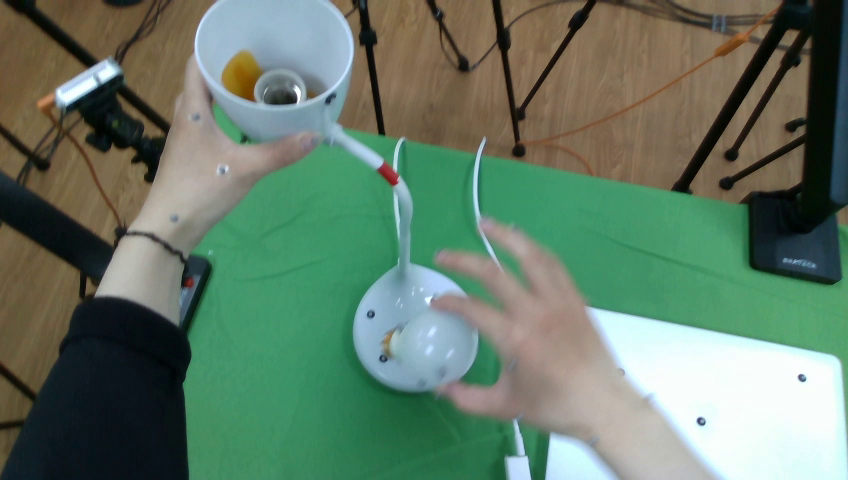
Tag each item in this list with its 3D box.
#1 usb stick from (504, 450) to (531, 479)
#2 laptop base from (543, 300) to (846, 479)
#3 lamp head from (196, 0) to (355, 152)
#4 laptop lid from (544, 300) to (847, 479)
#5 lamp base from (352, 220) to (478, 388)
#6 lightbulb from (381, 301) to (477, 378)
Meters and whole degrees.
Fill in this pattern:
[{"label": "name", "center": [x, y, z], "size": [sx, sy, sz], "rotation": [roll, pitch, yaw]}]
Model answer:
[{"label": "usb stick", "center": [0.109, 0.276, 0.703], "size": [0.027, 0.021, 0.059], "rotation": [-2, 76, -4]}, {"label": "laptop base", "center": [0.331, 0.216, 0.741], "size": [0.354, 0.023, 0.234], "rotation": [11, 69, 3]}, {"label": "lamp head", "center": [-0.108, -0.123, 0.483], "size": [0.112, 0.123, 0.111], "rotation": [1, 66, -3]}, {"label": "laptop lid", "center": [0.331, 0.213, 0.729], "size": [0.356, 0.013, 0.240], "rotation": [12, 68, 3]}, {"label": "lamp base", "center": [-0.014, 0.066, 0.704], "size": [0.161, 0.181, 0.177], "rotation": [-17, 65, -9]}, {"label": "lightbulb", "center": [-0.002, 0.081, 0.493], "size": [0.060, 0.107, 0.059], "rotation": [6, 80, -34]}]
